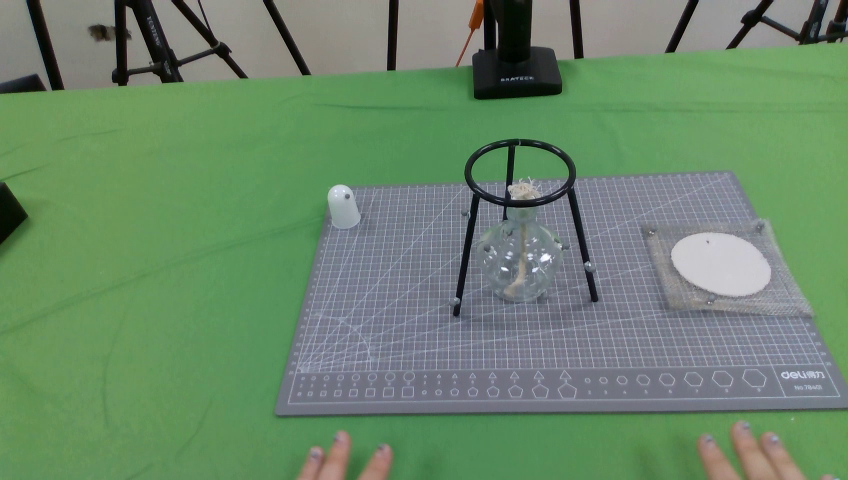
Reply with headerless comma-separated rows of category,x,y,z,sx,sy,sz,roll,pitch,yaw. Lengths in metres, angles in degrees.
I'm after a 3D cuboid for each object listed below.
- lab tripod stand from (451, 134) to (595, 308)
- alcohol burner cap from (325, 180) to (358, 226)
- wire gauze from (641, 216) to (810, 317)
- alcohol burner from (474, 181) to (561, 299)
lab tripod stand,0.084,-0.014,0.530,0.148,0.133,0.147,-2,42,2
alcohol burner cap,-0.089,-0.042,0.646,0.034,0.048,0.033,-2,44,3
wire gauze,0.275,0.020,0.565,0.125,0.011,0.120,2,44,5
alcohol burner,0.084,-0.004,0.534,0.078,0.120,0.077,-2,43,2
